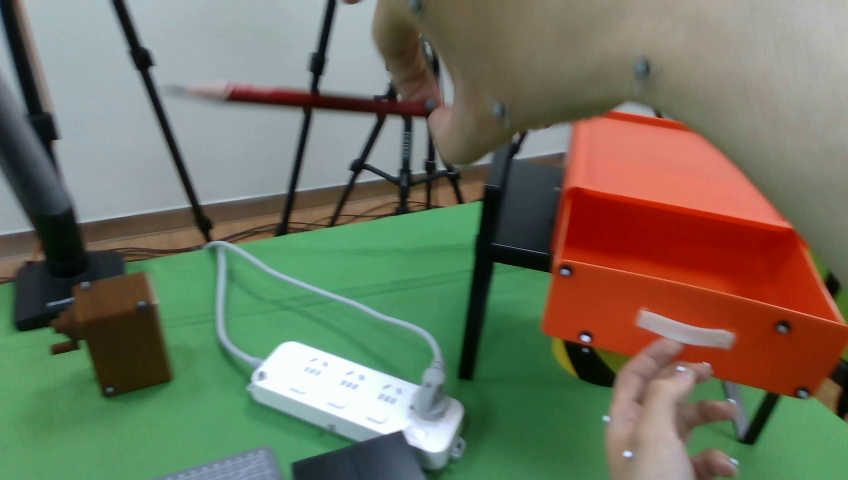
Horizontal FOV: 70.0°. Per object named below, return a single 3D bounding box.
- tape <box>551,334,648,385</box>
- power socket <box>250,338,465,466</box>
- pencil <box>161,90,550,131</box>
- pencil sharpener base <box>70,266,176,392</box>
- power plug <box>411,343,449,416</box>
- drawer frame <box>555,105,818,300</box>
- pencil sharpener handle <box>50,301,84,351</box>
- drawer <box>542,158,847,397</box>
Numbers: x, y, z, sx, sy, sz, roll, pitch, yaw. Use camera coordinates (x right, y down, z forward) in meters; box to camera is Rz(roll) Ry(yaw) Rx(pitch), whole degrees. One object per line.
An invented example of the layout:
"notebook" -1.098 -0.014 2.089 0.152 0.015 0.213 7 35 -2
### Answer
"tape" 0.211 0.110 0.709 0.117 0.053 0.116 5 35 -3
"power socket" -0.066 0.158 0.608 0.226 0.033 0.072 16 34 16
"pencil" -0.009 -0.053 0.253 0.195 0.012 0.012 -7 33 -41
"pencil sharpener base" -0.299 0.090 0.605 0.077 0.108 0.060 -13 39 -25
"power plug" 0.015 0.145 0.598 0.035 0.053 0.072 24 38 25
"drawer frame" 0.241 -0.049 0.599 0.201 0.083 0.212 11 33 9
"pencil sharpener handle" -0.345 0.086 0.579 0.031 0.068 0.035 -13 60 -25
"drawer" 0.210 0.013 0.505 0.194 0.074 0.210 13 33 10
